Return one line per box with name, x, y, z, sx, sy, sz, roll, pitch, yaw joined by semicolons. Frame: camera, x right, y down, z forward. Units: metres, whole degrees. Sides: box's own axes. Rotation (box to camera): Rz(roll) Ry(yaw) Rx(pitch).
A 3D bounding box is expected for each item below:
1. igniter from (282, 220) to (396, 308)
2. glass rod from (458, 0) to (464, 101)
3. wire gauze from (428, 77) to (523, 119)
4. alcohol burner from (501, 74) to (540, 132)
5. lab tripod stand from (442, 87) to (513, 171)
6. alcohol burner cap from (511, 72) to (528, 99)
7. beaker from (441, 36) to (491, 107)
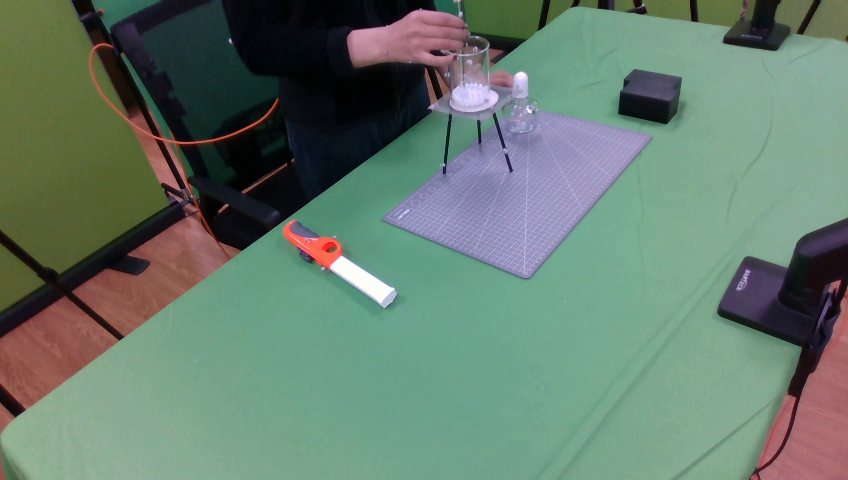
igniter;-0.146;0.032;0.966;0.274;0.025;0.057;30;64;37
glass rod;0.059;-0.316;0.980;0.008;0.200;0.008;-3;42;3
wire gauze;0.091;-0.248;1.063;0.120;0.011;0.125;24;48;30
alcohol burner;0.191;-0.275;1.194;0.078;0.119;0.077;-4;42;4
lab tripod stand;0.097;-0.200;1.108;0.148;0.132;0.147;-4;40;4
alcohol burner cap;0.185;-0.302;1.171;0.034;0.048;0.033;-2;42;2
beaker;0.074;-0.286;1.036;0.084;0.101;0.073;-1;41;8
